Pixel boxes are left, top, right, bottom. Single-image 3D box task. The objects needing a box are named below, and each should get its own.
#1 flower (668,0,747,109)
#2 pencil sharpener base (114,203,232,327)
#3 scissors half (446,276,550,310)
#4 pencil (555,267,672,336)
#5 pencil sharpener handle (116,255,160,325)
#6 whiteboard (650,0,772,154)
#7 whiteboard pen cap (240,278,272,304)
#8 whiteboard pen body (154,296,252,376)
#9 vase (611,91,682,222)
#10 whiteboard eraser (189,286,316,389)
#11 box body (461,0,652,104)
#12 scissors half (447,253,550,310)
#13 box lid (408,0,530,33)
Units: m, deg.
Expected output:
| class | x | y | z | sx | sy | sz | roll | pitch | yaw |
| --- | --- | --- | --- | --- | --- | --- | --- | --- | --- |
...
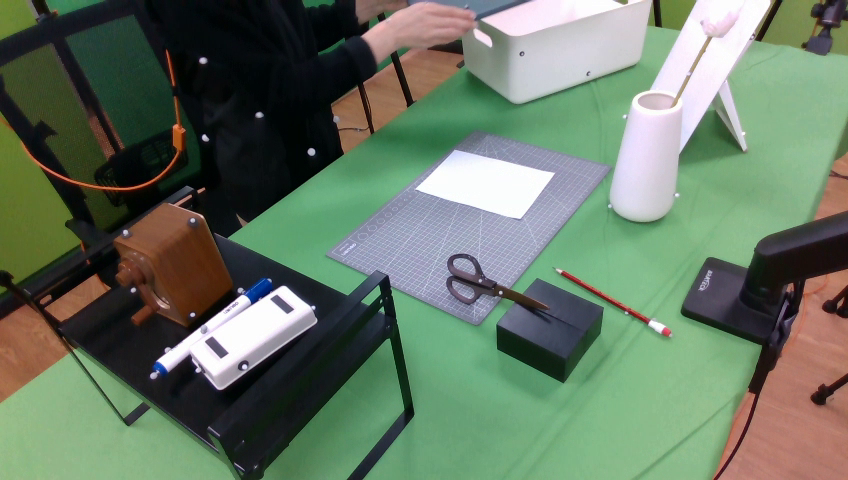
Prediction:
| class | x | y | z | sx | sy | sz | roll | pitch | yaw |
| --- | --- | --- | --- | --- | --- | --- | --- | --- | --- |
| flower | 0.355 | -0.187 | 0.879 | 0.038 | 0.362 | 0.044 | 31 | 48 | 15 |
| pencil sharpener base | -0.262 | 0.029 | 0.635 | 0.061 | 0.107 | 0.077 | 18 | 47 | 26 |
| scissors half | 0.098 | 0.077 | 0.827 | 0.174 | 0.040 | 0.013 | 6 | 14 | 44 |
| pencil | 0.260 | 0.082 | 0.850 | 0.012 | 0.012 | 0.192 | -33 | 46 | -27 |
| pencil sharpener handle | -0.286 | 0.050 | 0.594 | 0.035 | 0.068 | 0.031 | 7 | 41 | 35 |
| whiteboard | 0.543 | -0.298 | 1.076 | 0.144 | 0.305 | 0.216 | 12 | 40 | -7 |
| whiteboard pen cap | -0.183 | 0.057 | 0.658 | 0.018 | 0.018 | 0.033 | 19 | 44 | 28 |
| whiteboard pen body | -0.214 | 0.088 | 0.619 | 0.017 | 0.017 | 0.141 | 19 | 42 | 28 |
| vase | 0.348 | -0.125 | 0.935 | 0.098 | 0.201 | 0.097 | -3 | 40 | 3 |
| whiteboard eraser | -0.166 | 0.096 | 0.593 | 0.113 | 0.042 | 0.055 | -36 | 47 | -29 |
| box body | 0.291 | -0.465 | 1.371 | 0.365 | 0.161 | 0.252 | -22 | 42 | -16 |
| scissors half | 0.098 | 0.058 | 0.821 | 0.173 | 0.040 | 0.013 | 27 | 33 | 37 |
| box lid | 0.161 | -0.489 | 1.141 | 0.372 | 0.015 | 0.261 | -20 | 37 | 0 |
